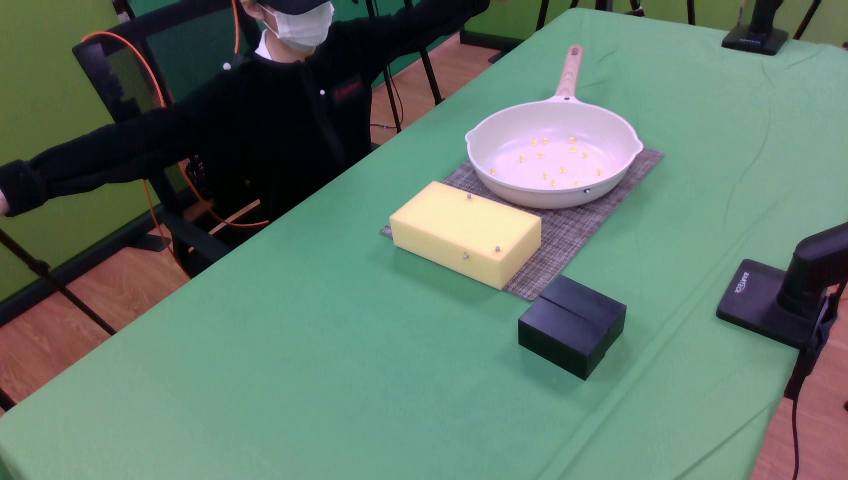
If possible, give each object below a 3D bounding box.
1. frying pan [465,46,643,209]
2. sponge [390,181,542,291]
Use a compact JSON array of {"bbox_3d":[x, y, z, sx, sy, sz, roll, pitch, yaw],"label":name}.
[{"bbox_3d":[0.255,-0.228,1.135,0.305,0.103,0.487,9,51,17],"label":"frying pan"},{"bbox_3d":[0.065,-0.012,0.945,0.205,0.061,0.118,22,49,30],"label":"sponge"}]
